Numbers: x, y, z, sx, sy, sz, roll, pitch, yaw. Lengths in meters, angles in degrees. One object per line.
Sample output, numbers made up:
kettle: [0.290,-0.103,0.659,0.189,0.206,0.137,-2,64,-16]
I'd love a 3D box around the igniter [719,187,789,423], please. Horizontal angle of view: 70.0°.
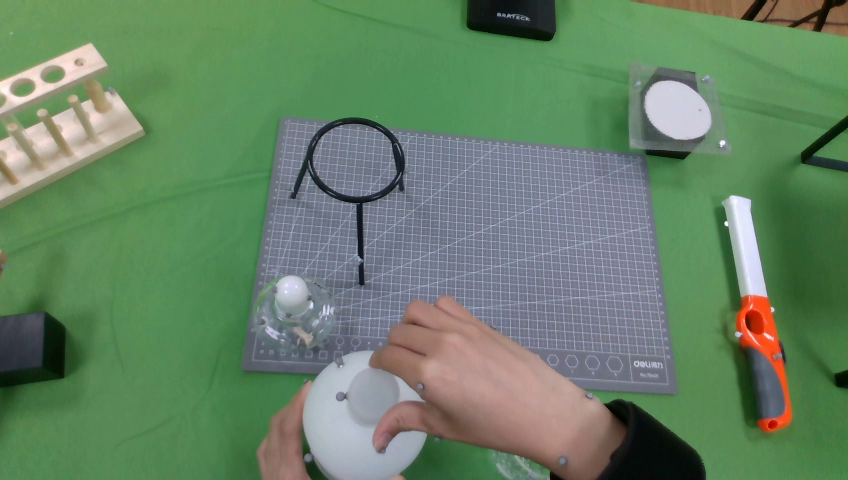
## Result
igniter: [0.371,0.066,0.687,0.057,0.025,0.274,10,66,-16]

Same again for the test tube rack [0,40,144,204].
test tube rack: [-0.419,-0.098,0.602,0.242,0.085,0.066,-35,76,-21]

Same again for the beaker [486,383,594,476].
beaker: [0.098,0.176,0.557,0.084,0.101,0.073,31,65,7]

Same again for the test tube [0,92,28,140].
test tube: [-0.409,-0.142,0.569,0.017,0.151,0.017,4,61,-7]

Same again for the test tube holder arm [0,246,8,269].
test tube holder arm: [-0.387,0.046,0.529,0.010,0.015,0.087,7,65,-4]

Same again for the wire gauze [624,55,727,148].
wire gauze: [0.301,-0.167,0.734,0.122,0.011,0.124,6,67,-6]

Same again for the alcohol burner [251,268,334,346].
alcohol burner: [-0.122,0.057,0.563,0.078,0.119,0.077,4,65,-9]

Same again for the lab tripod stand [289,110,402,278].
lab tripod stand: [-0.071,-0.051,0.607,0.149,0.132,0.147,4,67,-9]

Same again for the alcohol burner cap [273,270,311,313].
alcohol burner cap: [-0.117,0.044,0.530,0.034,0.048,0.033,2,72,-7]

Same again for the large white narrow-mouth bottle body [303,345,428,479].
large white narrow-mouth bottle body: [-0.048,0.141,0.497,0.102,0.195,0.101,3,66,-6]

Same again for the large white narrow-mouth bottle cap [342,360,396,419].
large white narrow-mouth bottle cap: [-0.037,0.101,0.411,0.038,0.024,0.037,3,66,-7]
